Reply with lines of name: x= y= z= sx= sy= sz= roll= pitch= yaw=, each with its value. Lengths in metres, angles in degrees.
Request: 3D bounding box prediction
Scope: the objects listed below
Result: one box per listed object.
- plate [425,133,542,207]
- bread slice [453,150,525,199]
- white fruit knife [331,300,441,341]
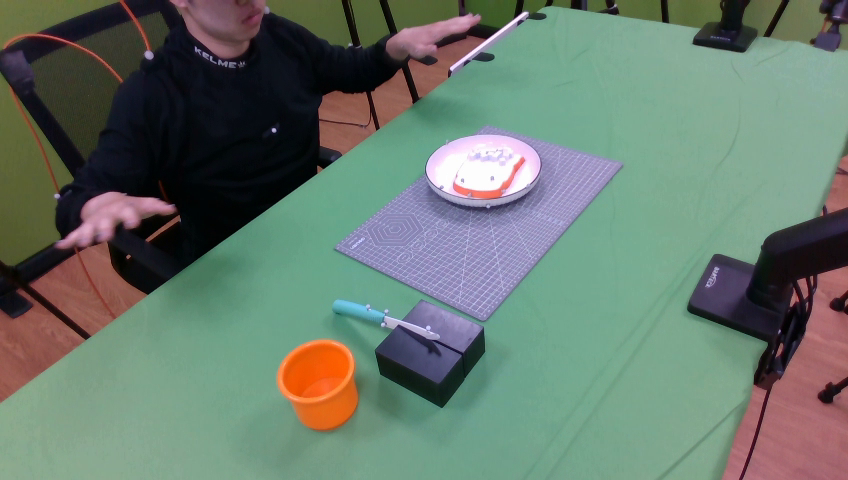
plate: x=0.106 y=-0.121 z=1.079 sx=0.209 sy=0.038 sz=0.208 roll=-4 pitch=41 yaw=4
bread slice: x=0.112 y=-0.118 z=1.079 sx=0.104 sy=0.019 sz=0.131 roll=11 pitch=42 yaw=21
white fruit knife: x=-0.056 y=0.107 z=0.807 sx=0.205 sy=0.027 sz=0.016 roll=9 pitch=42 yaw=40
